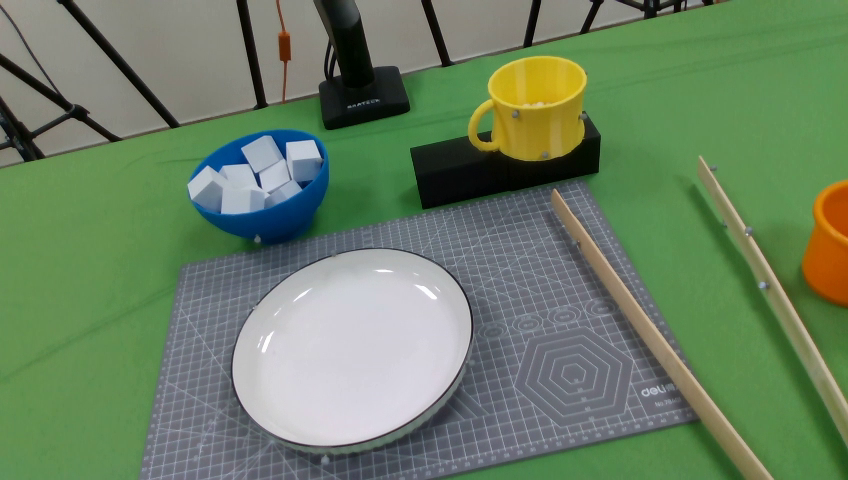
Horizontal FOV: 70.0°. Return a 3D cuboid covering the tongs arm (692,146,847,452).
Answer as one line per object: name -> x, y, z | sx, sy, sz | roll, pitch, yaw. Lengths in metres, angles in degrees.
tongs arm -> 0.271, 0.051, 0.494 | 0.051, 0.027, 0.380 | -8, 46, 2

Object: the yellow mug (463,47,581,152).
yellow mug -> 0.099, -0.141, 0.631 | 0.131, 0.064, 0.099 | -24, 45, -11

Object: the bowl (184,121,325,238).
bowl -> -0.174, -0.056, 0.667 | 0.151, 0.077, 0.150 | -6, 44, 7

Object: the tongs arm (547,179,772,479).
tongs arm -> 0.190, 0.070, 0.494 | 0.028, 0.028, 0.383 | -16, 45, -10

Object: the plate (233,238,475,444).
plate -> -0.058, 0.084, 0.526 | 0.207, 0.039, 0.205 | -6, 45, 6

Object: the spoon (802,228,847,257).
spoon -> 0.366, -0.005, 0.448 | 0.041, 0.193, 0.021 | -30, 91, -13
